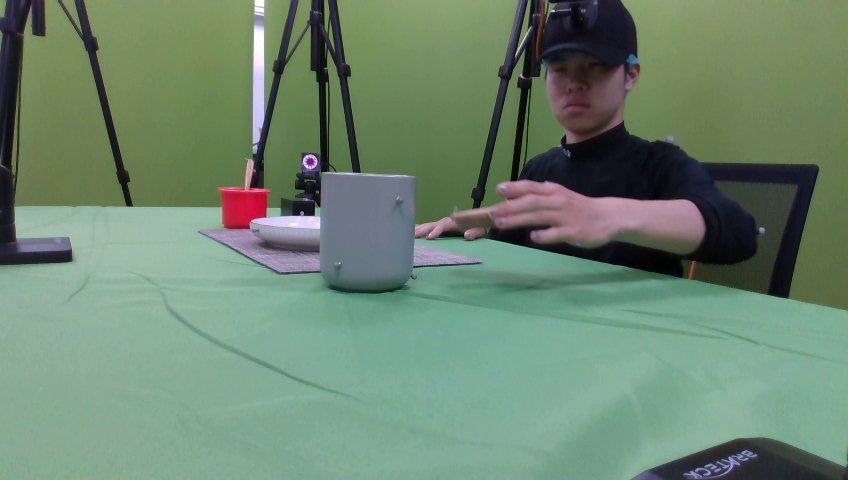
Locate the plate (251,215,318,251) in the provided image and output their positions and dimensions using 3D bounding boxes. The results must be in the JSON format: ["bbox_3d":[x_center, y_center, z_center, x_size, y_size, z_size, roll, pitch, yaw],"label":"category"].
[{"bbox_3d":[-0.170,-0.012,0.971,0.208,0.039,0.207,2,7,0],"label":"plate"}]

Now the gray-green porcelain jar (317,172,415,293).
[{"bbox_3d":[-0.065,-0.010,0.671,0.106,0.126,0.106,2,7,0],"label":"gray-green porcelain jar"}]

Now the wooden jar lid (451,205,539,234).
[{"bbox_3d":[0.087,-0.025,0.735,0.108,0.020,0.108,-10,4,1],"label":"wooden jar lid"}]

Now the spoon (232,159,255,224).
[{"bbox_3d":[-0.356,-0.101,1.218,0.042,0.021,0.193,1,51,-9],"label":"spoon"}]
